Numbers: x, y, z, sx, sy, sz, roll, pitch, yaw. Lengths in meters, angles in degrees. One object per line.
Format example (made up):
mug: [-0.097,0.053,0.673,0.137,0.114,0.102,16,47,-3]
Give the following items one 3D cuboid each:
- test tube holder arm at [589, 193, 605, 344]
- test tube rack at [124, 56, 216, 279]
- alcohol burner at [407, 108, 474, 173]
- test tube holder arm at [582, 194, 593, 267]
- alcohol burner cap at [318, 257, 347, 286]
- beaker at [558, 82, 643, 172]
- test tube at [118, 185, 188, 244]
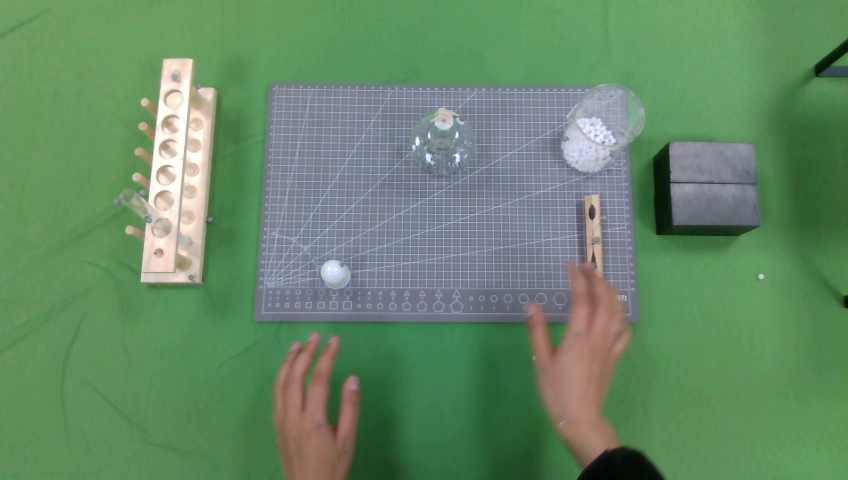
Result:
test tube holder arm: [0.202,0.033,0.712,0.013,0.015,0.177,-7,78,30]
test tube rack: [-0.295,-0.080,0.695,0.067,0.085,0.241,1,79,-1]
alcohol burner: [0.019,-0.121,0.692,0.078,0.119,0.077,0,79,1]
test tube holder arm: [0.197,-0.011,0.722,0.010,0.015,0.087,-6,79,30]
alcohol burner cap: [-0.107,0.034,0.695,0.034,0.048,0.033,0,79,-2]
beaker: [0.197,-0.126,0.703,0.084,0.100,0.073,-1,78,0]
test tube: [-0.279,-0.023,0.634,0.017,0.151,0.017,0,73,-1]
